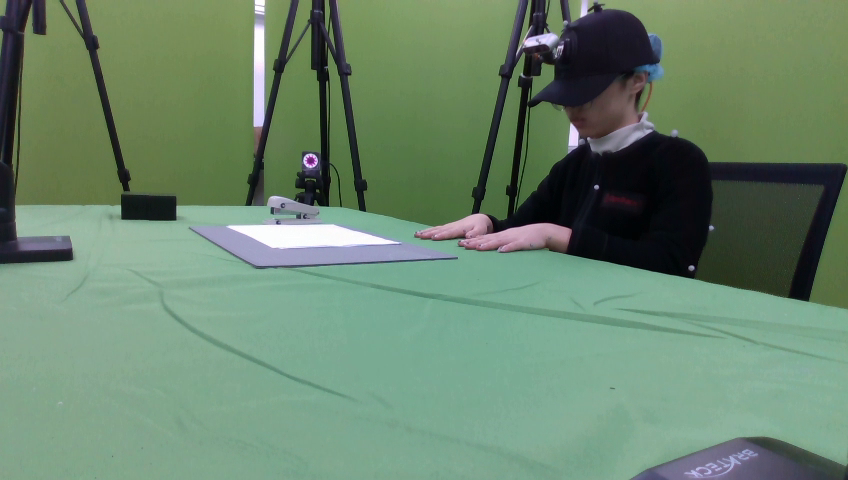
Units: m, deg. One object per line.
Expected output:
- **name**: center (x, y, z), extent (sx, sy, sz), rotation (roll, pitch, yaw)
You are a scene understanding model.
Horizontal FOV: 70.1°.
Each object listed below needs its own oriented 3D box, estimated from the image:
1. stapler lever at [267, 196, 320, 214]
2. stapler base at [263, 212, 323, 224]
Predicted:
- **stapler lever**: center (-0.275, -0.073, 1.277), extent (0.026, 0.040, 0.119), rotation (12, 10, 43)
- **stapler base**: center (-0.277, -0.048, 1.279), extent (0.041, 0.024, 0.131), rotation (12, 10, 43)
